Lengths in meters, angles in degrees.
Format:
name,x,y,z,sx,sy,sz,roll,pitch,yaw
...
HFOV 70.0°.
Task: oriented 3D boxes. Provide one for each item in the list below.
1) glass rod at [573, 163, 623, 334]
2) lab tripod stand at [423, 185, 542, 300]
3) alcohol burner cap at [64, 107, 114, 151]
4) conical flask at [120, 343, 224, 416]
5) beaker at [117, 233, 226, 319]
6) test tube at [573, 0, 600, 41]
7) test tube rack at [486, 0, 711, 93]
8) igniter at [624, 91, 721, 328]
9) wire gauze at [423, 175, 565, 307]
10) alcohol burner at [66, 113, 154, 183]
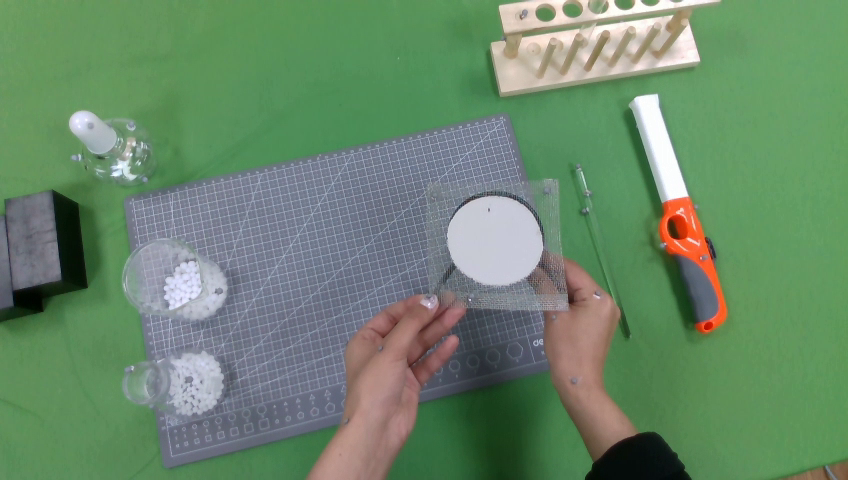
name,x,y,z,sx,sy,sz,roll,pitch,yaw
glass rod,0.195,0.008,0.681,0.008,0.008,0.199,-12,81,-4
lab tripod stand,0.059,0.011,0.611,0.148,0.132,0.147,0,79,-1
alcohol burner cap,-0.337,-0.114,0.606,0.034,0.048,0.033,0,71,0
conical flask,-0.246,0.134,0.583,0.075,0.122,0.075,0,77,-1
beaker,-0.246,0.042,0.615,0.084,0.100,0.074,22,78,3
test tube,0.181,-0.258,0.649,0.017,0.151,0.017,0,78,2
test tube rack,0.199,-0.236,0.695,0.242,0.085,0.066,-10,77,-3
igniter,0.280,-0.039,0.684,0.057,0.025,0.275,-10,78,-13
wire gauze,0.061,-0.001,0.541,0.125,0.011,0.121,0,74,-1
alcohol burner,-0.338,-0.104,0.640,0.078,0.119,0.077,0,79,0
